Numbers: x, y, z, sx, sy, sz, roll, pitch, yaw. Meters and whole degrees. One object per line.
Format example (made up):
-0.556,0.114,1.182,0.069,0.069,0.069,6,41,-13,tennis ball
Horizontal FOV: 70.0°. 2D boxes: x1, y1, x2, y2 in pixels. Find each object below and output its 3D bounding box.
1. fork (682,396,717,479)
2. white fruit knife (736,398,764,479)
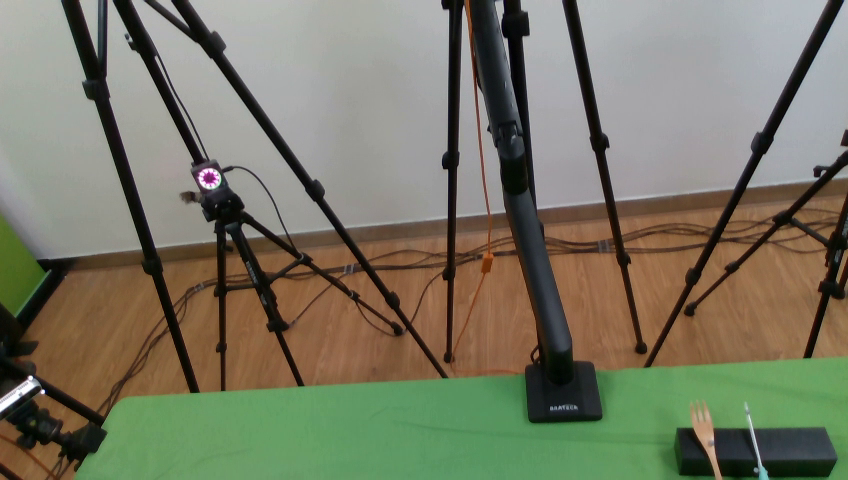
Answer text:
0.401,0.323,0.849,0.028,0.019,0.205,-8,60,4,fork
0.458,0.320,0.835,0.016,0.028,0.205,-9,56,14,white fruit knife
